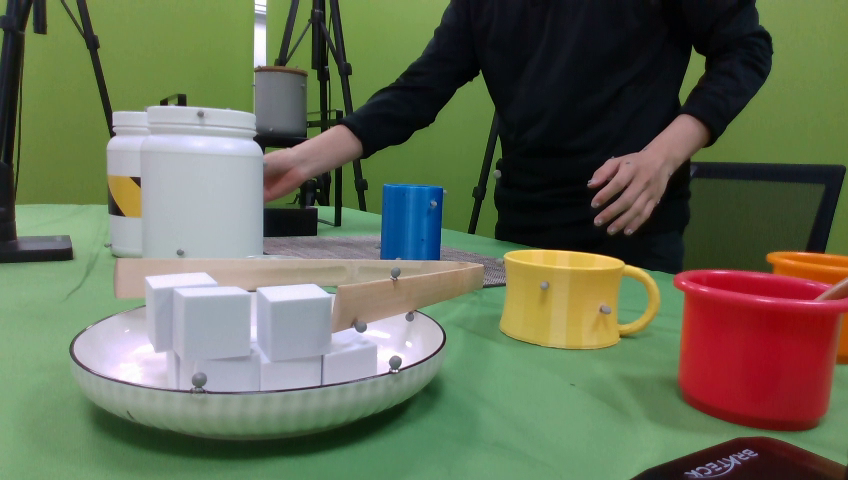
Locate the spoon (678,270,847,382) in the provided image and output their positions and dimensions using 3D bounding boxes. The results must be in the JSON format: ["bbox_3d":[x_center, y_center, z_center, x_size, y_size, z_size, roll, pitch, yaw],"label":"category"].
[{"bbox_3d":[0.229,0.031,0.338,0.193,0.021,0.042,-44,-16,27],"label":"spoon"}]

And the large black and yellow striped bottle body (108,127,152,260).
[{"bbox_3d":[-0.350,-0.071,0.812,0.131,0.184,0.130,2,7,0],"label":"large black and yellow striped bottle body"}]

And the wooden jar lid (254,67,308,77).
[{"bbox_3d":[-0.296,-0.339,1.251,0.108,0.020,0.108,2,7,0],"label":"wooden jar lid"}]

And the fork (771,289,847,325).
[{"bbox_3d":[0.335,0.018,0.443,0.028,0.018,0.207,-1,-36,-20],"label":"fork"}]

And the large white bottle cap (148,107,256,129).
[{"bbox_3d":[-0.250,-0.137,0.686,0.115,0.018,0.115,2,8,0],"label":"large white bottle cap"}]

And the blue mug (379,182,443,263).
[{"bbox_3d":[-0.020,-0.026,0.833,0.082,0.106,0.116,1,7,-7],"label":"blue mug"}]

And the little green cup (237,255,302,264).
[{"bbox_3d":[-0.150,0.038,0.590,0.061,0.038,0.061,3,6,0],"label":"little green cup"}]

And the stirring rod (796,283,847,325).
[{"bbox_3d":[0.346,0.019,0.460,0.014,0.176,0.006,-17,59,-26],"label":"stirring rod"}]

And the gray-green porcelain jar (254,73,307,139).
[{"bbox_3d":[-0.298,-0.277,1.259,0.106,0.126,0.106,3,7,0],"label":"gray-green porcelain jar"}]

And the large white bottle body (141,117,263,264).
[{"bbox_3d":[-0.254,-0.054,0.697,0.131,0.184,0.130,2,7,0],"label":"large white bottle body"}]

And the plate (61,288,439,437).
[{"bbox_3d":[-0.095,0.069,0.362,0.208,0.039,0.207,3,7,0],"label":"plate"}]

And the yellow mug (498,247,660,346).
[{"bbox_3d":[0.130,0.045,0.508,0.131,0.064,0.100,4,7,6],"label":"yellow mug"}]

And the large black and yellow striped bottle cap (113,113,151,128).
[{"bbox_3d":[-0.348,-0.154,0.800,0.115,0.019,0.115,2,6,0],"label":"large black and yellow striped bottle cap"}]

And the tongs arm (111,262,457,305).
[{"bbox_3d":[-0.080,0.032,0.527,0.028,0.027,0.389,-4,-3,33],"label":"tongs arm"}]

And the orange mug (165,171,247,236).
[{"bbox_3d":[-0.352,-0.060,0.979,0.126,0.101,0.083,0,8,-8],"label":"orange mug"}]

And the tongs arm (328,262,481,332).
[{"bbox_3d":[-0.003,0.036,0.493,0.050,0.026,0.386,1,-1,19],"label":"tongs arm"}]
